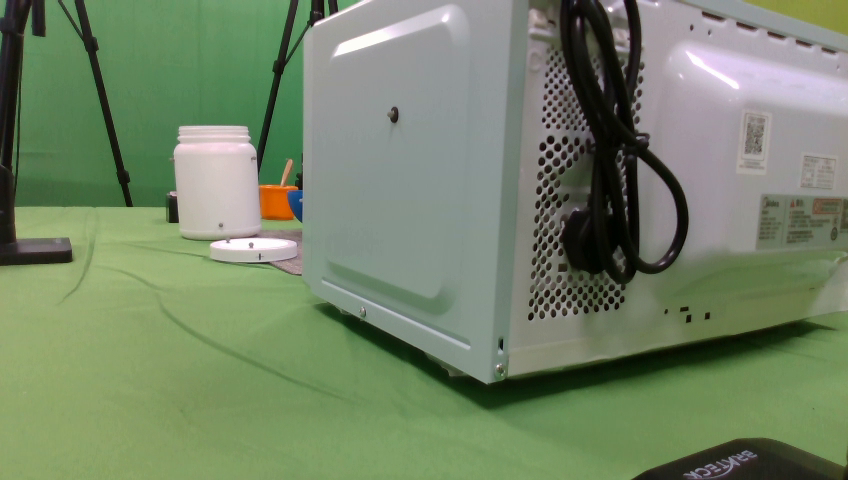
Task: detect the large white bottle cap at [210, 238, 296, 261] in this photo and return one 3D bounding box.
[{"bbox_3d":[-0.236,0.012,0.839,0.115,0.018,0.115,2,7,0],"label":"large white bottle cap"}]

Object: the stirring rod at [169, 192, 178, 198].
[{"bbox_3d":[-0.465,-0.098,1.283,0.014,0.006,0.177,42,21,17],"label":"stirring rod"}]

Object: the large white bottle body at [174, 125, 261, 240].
[{"bbox_3d":[-0.349,-0.100,1.024,0.131,0.184,0.130,-1,9,0],"label":"large white bottle body"}]

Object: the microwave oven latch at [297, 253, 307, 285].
[{"bbox_3d":[-0.082,0.027,0.582,0.079,0.029,0.030,-1,7,-33],"label":"microwave oven latch"}]

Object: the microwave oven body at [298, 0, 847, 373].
[{"bbox_3d":[0.151,-0.055,0.543,0.444,0.260,0.324,-1,7,-33],"label":"microwave oven body"}]

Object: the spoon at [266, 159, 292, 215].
[{"bbox_3d":[-0.334,-0.127,1.423,0.041,0.193,0.021,1,-37,6],"label":"spoon"}]

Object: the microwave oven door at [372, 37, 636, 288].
[{"bbox_3d":[0.109,-0.080,0.686,0.358,0.243,0.039,-2,9,-33],"label":"microwave oven door"}]

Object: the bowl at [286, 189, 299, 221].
[{"bbox_3d":[-0.179,-0.051,1.115,0.151,0.077,0.151,3,8,0],"label":"bowl"}]

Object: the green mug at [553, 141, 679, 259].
[{"bbox_3d":[0.180,-0.037,0.583,0.124,0.105,0.093,3,4,44],"label":"green mug"}]
